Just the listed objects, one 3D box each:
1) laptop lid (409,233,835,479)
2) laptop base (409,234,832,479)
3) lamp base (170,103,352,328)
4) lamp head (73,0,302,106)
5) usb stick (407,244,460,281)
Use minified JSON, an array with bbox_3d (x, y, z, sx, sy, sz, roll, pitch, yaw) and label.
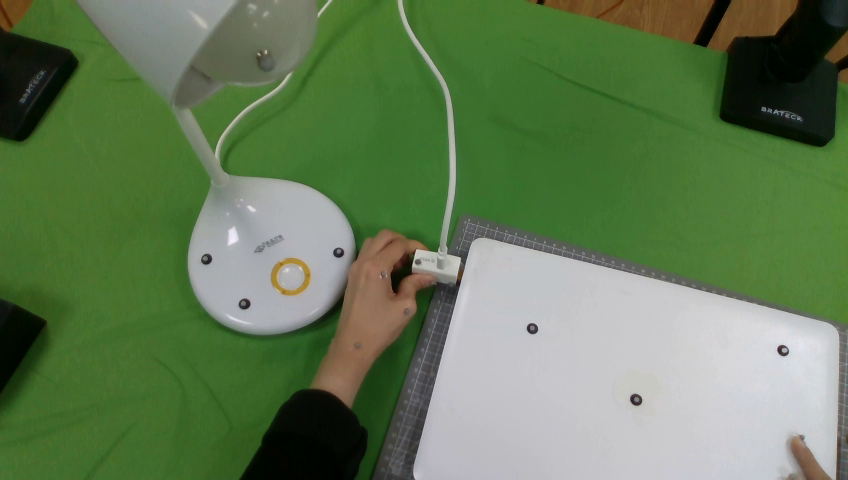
[{"bbox_3d":[0.183,0.138,0.538,0.356,0.013,0.240,16,71,5],"label":"laptop lid"},{"bbox_3d":[0.184,0.140,0.550,0.354,0.023,0.234,14,71,4],"label":"laptop base"},{"bbox_3d":[-0.159,-0.030,0.524,0.160,0.181,0.178,-42,71,-17],"label":"lamp base"},{"bbox_3d":[-0.106,-0.132,0.240,0.123,0.112,0.112,42,71,-10],"label":"lamp head"},{"bbox_3d":[0.014,0.023,0.579,0.059,0.027,0.021,12,59,-1],"label":"usb stick"}]
